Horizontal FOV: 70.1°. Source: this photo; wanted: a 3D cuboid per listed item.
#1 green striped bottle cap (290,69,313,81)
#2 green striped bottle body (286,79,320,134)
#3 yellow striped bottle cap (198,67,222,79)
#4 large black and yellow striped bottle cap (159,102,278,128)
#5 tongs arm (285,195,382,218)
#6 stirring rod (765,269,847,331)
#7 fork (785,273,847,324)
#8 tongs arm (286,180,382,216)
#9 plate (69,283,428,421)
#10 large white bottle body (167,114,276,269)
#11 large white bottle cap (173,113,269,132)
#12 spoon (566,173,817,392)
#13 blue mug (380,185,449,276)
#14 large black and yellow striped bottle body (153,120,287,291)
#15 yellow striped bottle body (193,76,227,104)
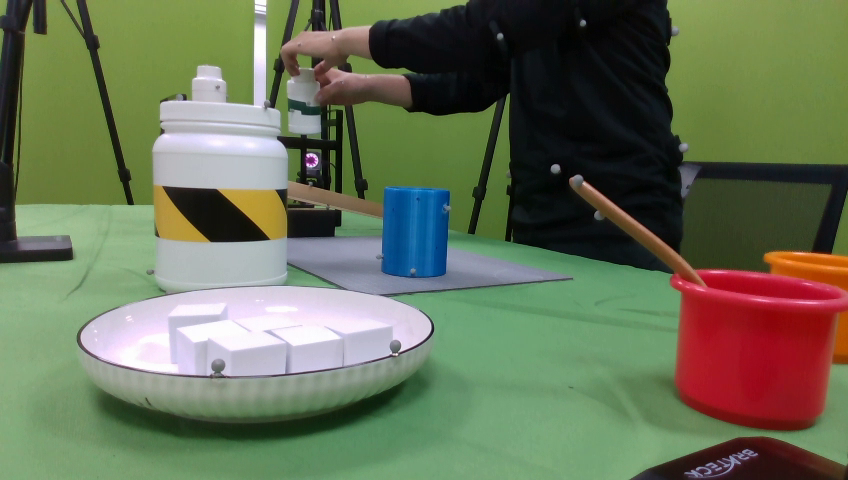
[{"bbox_3d":[-0.233,-0.316,1.157,0.044,0.020,0.044,7,19,-2],"label":"green striped bottle cap"},{"bbox_3d":[-0.234,-0.267,1.173,0.063,0.119,0.063,2,16,0],"label":"green striped bottle body"},{"bbox_3d":[-0.411,-0.320,1.163,0.044,0.018,0.044,0,6,0],"label":"yellow striped bottle cap"},{"bbox_3d":[-0.207,-0.125,0.615,0.115,0.019,0.115,2,6,0],"label":"large black and yellow striped bottle cap"},{"bbox_3d":[-0.166,-0.074,1.216,0.389,0.027,0.028,11,-6,-24],"label":"tongs arm"},{"bbox_3d":[0.351,0.020,0.484,0.176,0.006,0.014,-40,-6,12],"label":"stirring rod"},{"bbox_3d":[0.332,0.018,0.444,0.028,0.018,0.207,-2,-35,-15],"label":"fork"},{"bbox_3d":[-0.122,-0.066,1.147,0.387,0.026,0.050,11,-2,-37],"label":"tongs arm"},{"bbox_3d":[-0.102,0.066,0.381,0.208,0.039,0.207,2,7,0],"label":"plate"},{"bbox_3d":[-0.256,-0.063,0.772,0.131,0.184,0.130,1,7,0],"label":"large white bottle body"},{"bbox_3d":[-0.254,-0.146,0.760,0.115,0.018,0.115,1,7,0],"label":"large white bottle cap"},{"bbox_3d":[0.161,0.024,0.370,0.193,0.021,0.042,47,18,3],"label":"spoon"},{"bbox_3d":[-0.018,-0.016,0.764,0.083,0.106,0.116,-2,8,-25],"label":"blue mug"},{"bbox_3d":[-0.208,-0.042,0.626,0.131,0.184,0.130,2,7,0],"label":"large black and yellow striped bottle body"},{"bbox_3d":[-0.414,-0.268,1.169,0.063,0.120,0.063,2,7,0],"label":"yellow striped bottle body"}]
